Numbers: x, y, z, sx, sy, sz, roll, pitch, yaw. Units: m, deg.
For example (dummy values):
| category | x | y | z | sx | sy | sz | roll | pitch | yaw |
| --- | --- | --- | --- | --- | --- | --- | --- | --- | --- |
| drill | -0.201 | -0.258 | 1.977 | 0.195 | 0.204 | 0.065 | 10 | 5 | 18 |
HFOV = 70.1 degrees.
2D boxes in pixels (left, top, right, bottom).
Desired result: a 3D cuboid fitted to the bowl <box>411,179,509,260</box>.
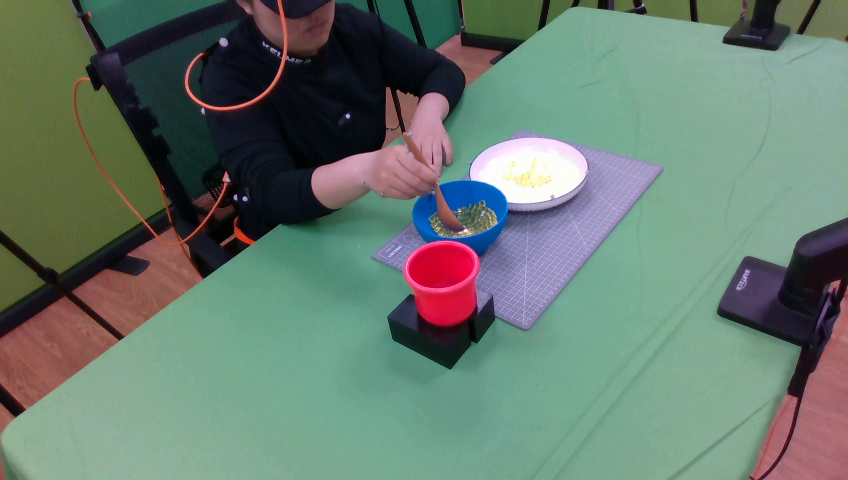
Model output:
| category | x | y | z | sx | sy | sz | roll | pitch | yaw |
| --- | --- | --- | --- | --- | --- | --- | --- | --- | --- |
| bowl | 0.060 | -0.022 | 0.949 | 0.151 | 0.077 | 0.150 | -5 | 40 | 5 |

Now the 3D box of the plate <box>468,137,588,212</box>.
| category | x | y | z | sx | sy | sz | roll | pitch | yaw |
| --- | --- | --- | --- | --- | --- | --- | --- | --- | --- |
| plate | 0.182 | -0.112 | 1.064 | 0.207 | 0.039 | 0.206 | -5 | 40 | 5 |

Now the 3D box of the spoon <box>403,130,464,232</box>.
| category | x | y | z | sx | sy | sz | roll | pitch | yaw |
| --- | --- | --- | --- | --- | --- | --- | --- | --- | --- |
| spoon | 0.013 | -0.079 | 0.865 | 0.041 | 0.195 | 0.022 | 18 | 54 | 45 |
